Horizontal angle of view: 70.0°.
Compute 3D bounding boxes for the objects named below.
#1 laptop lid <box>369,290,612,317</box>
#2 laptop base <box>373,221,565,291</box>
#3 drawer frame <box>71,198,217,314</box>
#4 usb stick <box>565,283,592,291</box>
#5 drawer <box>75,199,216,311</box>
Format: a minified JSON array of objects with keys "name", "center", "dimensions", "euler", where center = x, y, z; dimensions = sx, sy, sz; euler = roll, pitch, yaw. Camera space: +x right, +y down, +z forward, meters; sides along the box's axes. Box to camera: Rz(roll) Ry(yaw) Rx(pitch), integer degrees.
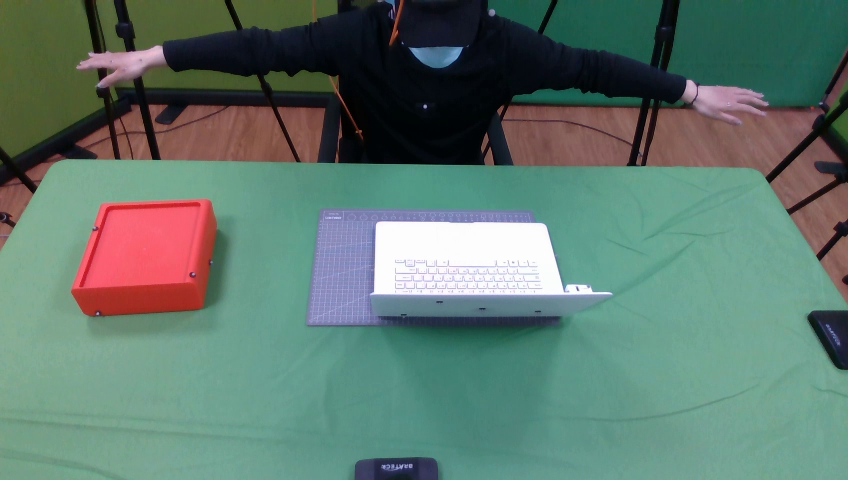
[{"name":"laptop lid","center":[0.091,0.104,0.965],"dimensions":[0.357,0.242,0.013],"euler":[1,75,-5]},{"name":"laptop base","center":[0.080,0.049,1.158],"dimensions":[0.355,0.023,0.234],"euler":[0,43,-4]},{"name":"drawer frame","center":[-0.493,0.023,1.096],"dimensions":[0.202,0.083,0.212],"euler":[-3,47,-8]},{"name":"usb stick","center":[0.276,0.095,1.113],"dimensions":[0.059,0.027,0.021],"euler":[-1,47,-6]},{"name":"drawer","center":[-0.494,0.023,1.098],"dimensions":[0.195,0.073,0.210],"euler":[-2,47,-8]}]
